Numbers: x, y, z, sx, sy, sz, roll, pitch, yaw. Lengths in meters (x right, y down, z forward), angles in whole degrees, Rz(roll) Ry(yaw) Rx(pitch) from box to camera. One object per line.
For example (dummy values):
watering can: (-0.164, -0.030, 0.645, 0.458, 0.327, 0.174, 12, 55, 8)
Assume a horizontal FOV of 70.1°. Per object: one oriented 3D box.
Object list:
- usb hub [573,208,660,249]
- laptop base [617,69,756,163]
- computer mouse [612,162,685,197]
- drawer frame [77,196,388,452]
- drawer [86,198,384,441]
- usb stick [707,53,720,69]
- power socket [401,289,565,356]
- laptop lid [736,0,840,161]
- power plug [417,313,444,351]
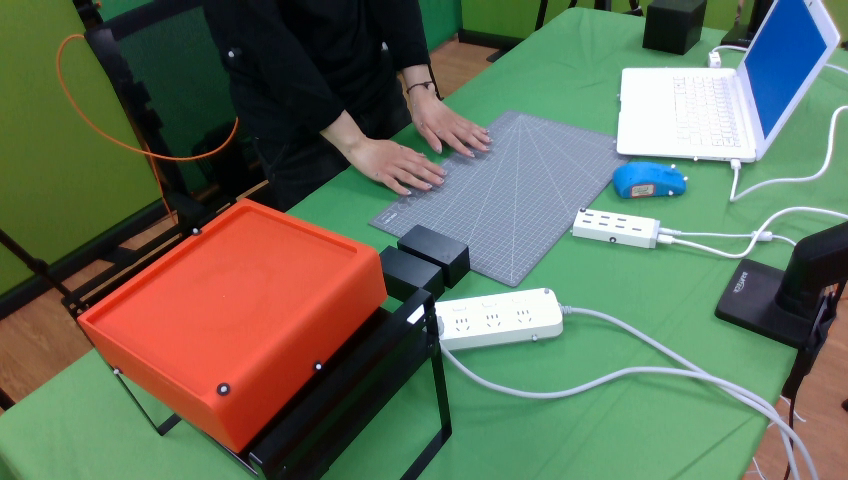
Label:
usb hub: (0.302, -0.019, 0.950, 0.124, 0.025, 0.049, 11, 43, 20)
laptop base: (0.509, -0.255, 1.201, 0.234, 0.023, 0.353, 4, 41, 16)
computer mouse: (0.382, -0.104, 1.027, 0.117, 0.041, 0.062, 0, 39, 2)
drawer frame: (-0.179, 0.066, 0.598, 0.200, 0.083, 0.214, 20, 48, 28)
drawer: (-0.179, 0.064, 0.600, 0.193, 0.073, 0.212, 21, 48, 28)
usb stick: (0.629, -0.382, 1.313, 0.021, 0.027, 0.059, 2, 46, 17)
power socket: (0.081, 0.112, 0.822, 0.227, 0.033, 0.072, -7, 41, 0)
laptop lid: (0.641, -0.327, 1.090, 0.013, 0.242, 0.356, 17, 43, 5)
power plug: (0.007, 0.127, 0.786, 0.035, 0.053, 0.072, 0, 43, 8)
